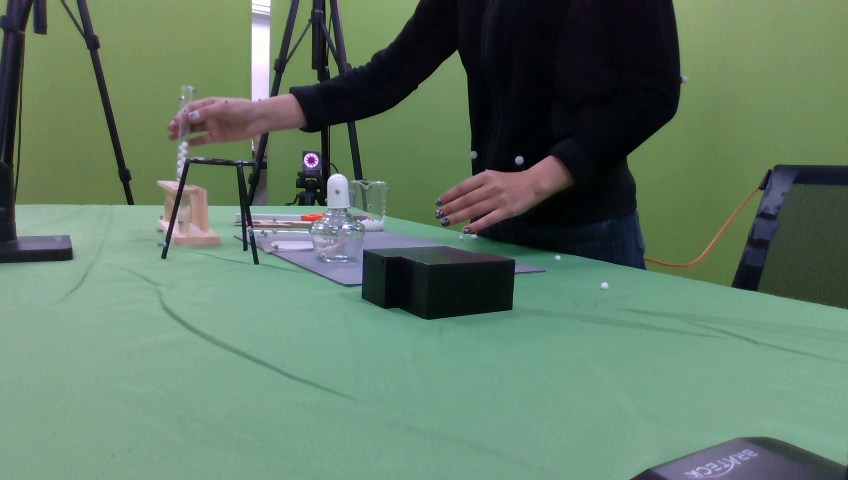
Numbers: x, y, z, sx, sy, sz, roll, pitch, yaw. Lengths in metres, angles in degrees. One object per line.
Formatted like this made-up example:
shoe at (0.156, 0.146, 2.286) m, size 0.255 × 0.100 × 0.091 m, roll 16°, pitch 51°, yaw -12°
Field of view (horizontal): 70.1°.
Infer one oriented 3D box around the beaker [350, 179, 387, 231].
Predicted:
beaker at (-0.111, -0.069, 1.204) m, size 0.074 × 0.100 × 0.084 m, roll 2°, pitch 8°, yaw 0°

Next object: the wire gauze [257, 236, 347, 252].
wire gauze at (-0.190, 0.006, 0.931) m, size 0.122 × 0.011 × 0.124 m, roll 1°, pitch 7°, yaw -21°

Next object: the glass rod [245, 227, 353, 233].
glass rod at (-0.225, -0.017, 1.109) m, size 0.201 × 0.008 × 0.008 m, roll 1°, pitch 7°, yaw -27°

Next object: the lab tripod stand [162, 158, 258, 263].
lab tripod stand at (-0.265, -0.041, 0.802) m, size 0.148 × 0.131 × 0.148 m, roll 4°, pitch 7°, yaw 0°

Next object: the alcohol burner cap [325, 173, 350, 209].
alcohol burner cap at (-0.117, -0.065, 0.807) m, size 0.034 × 0.048 × 0.034 m, roll -3°, pitch 10°, yaw 1°

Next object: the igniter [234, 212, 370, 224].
igniter at (-0.246, -0.045, 1.247) m, size 0.278 × 0.025 × 0.057 m, roll -1°, pitch -2°, yaw -25°

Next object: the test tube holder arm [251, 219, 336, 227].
test tube holder arm at (-0.254, -0.031, 1.157) m, size 0.179 × 0.015 × 0.013 m, roll -3°, pitch 47°, yaw -31°

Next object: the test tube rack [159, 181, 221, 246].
test tube rack at (-0.396, -0.050, 1.010) m, size 0.067 × 0.085 × 0.241 m, roll -2°, pitch 8°, yaw -28°

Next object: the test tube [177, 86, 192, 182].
test tube at (-0.378, -0.166, 0.954) m, size 0.017 × 0.150 × 0.017 m, roll 6°, pitch 6°, yaw 0°

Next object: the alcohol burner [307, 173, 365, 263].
alcohol burner at (-0.117, -0.030, 0.813) m, size 0.078 × 0.119 × 0.078 m, roll 3°, pitch 9°, yaw 0°

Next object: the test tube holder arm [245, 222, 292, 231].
test tube holder arm at (-0.291, -0.026, 1.130) m, size 0.088 × 0.015 × 0.010 m, roll -2°, pitch 46°, yaw -30°
